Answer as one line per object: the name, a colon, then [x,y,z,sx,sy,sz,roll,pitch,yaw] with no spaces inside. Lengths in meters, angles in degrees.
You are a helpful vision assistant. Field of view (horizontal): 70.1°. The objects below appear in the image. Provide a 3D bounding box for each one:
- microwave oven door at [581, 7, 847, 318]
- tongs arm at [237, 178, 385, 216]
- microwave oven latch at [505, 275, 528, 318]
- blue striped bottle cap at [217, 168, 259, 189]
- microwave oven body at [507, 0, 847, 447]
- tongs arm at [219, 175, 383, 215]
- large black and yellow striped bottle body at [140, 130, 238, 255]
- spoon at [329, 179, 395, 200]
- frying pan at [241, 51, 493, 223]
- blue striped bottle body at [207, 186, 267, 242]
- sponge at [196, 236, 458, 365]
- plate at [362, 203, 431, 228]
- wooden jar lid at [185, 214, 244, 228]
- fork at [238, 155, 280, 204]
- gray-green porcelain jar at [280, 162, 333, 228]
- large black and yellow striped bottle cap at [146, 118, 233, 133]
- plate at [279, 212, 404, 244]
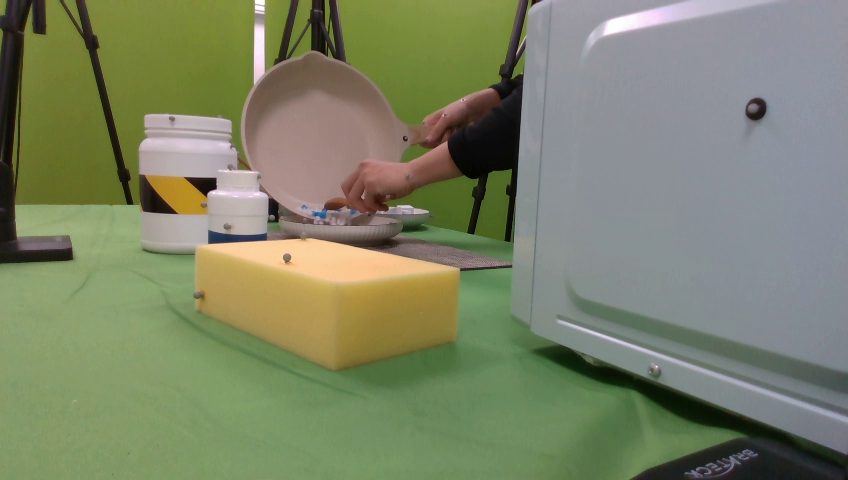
microwave oven door: [0.295,-0.067,0.569,0.358,0.243,0.039,-3,8,-31]
tongs arm: [-0.242,-0.095,1.374,0.387,0.026,0.050,9,0,-38]
microwave oven latch: [0.100,0.041,0.472,0.079,0.029,0.030,-2,8,-30]
blue striped bottle cap: [-0.202,-0.067,0.656,0.044,0.020,0.044,0,10,0]
microwave oven body: [0.331,-0.042,0.425,0.444,0.260,0.324,-2,8,-31]
tongs arm: [-0.286,-0.105,1.445,0.389,0.027,0.028,10,-3,-23]
large black and yellow striped bottle body: [-0.336,-0.078,0.871,0.131,0.184,0.130,2,7,0]
spoon: [-0.102,-0.079,0.997,0.042,0.021,0.192,39,-11,-35]
frying pan: [-0.087,-0.193,1.119,0.490,0.306,0.102,-9,0,-22]
blue striped bottle body: [-0.204,-0.016,0.663,0.063,0.120,0.063,2,7,0]
sponge: [-0.087,0.039,0.500,0.206,0.061,0.119,8,9,44]
plate: [-0.089,-0.053,1.309,0.208,0.039,0.207,2,8,0]
wooden jar lid: [-0.404,-0.037,1.169,0.108,0.020,0.108,3,7,0]
fork: [-0.396,-0.143,1.486,0.028,0.018,0.208,20,-26,45]
gray-green porcelain jar: [-0.238,-0.092,1.221,0.106,0.126,0.106,2,8,0]
large black and yellow striped bottle cap: [-0.333,-0.163,0.861,0.115,0.019,0.115,1,9,0]
plate: [-0.139,-0.022,1.021,0.209,0.038,0.209,2,7,0]
